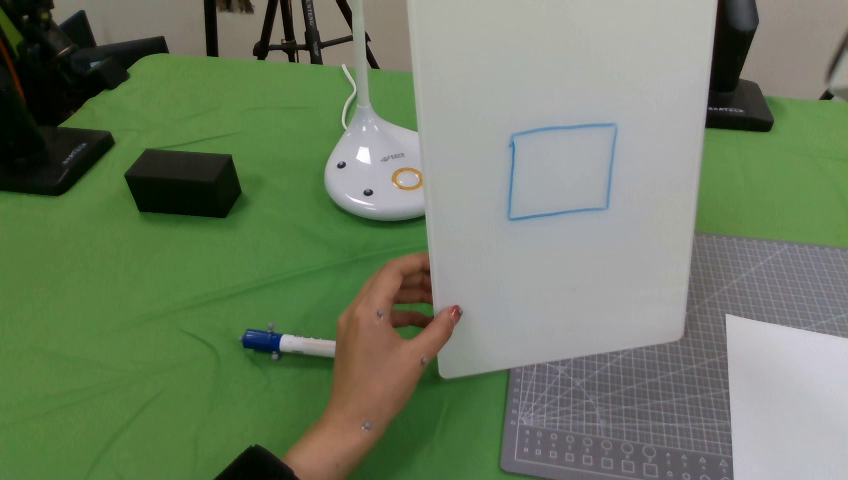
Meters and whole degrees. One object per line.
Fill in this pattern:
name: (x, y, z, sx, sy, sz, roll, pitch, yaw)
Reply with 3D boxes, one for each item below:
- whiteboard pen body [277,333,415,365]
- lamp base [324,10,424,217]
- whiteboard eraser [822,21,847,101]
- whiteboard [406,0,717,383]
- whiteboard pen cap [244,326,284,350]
whiteboard pen body: (-0.078, 0.092, 0.518, 0.141, 0.017, 0.017, 6, 43, 3)
lamp base: (-0.045, -0.144, 0.659, 0.161, 0.182, 0.177, -28, 46, -26)
whiteboard eraser: (0.318, -0.105, 0.398, 0.113, 0.055, 0.041, 19, 4, -14)
whiteboard: (0.098, -0.062, 0.516, 0.217, 0.307, 0.142, -8, 23, -6)
whiteboard pen cap: (-0.136, 0.085, 0.522, 0.033, 0.018, 0.018, 8, 43, 1)
